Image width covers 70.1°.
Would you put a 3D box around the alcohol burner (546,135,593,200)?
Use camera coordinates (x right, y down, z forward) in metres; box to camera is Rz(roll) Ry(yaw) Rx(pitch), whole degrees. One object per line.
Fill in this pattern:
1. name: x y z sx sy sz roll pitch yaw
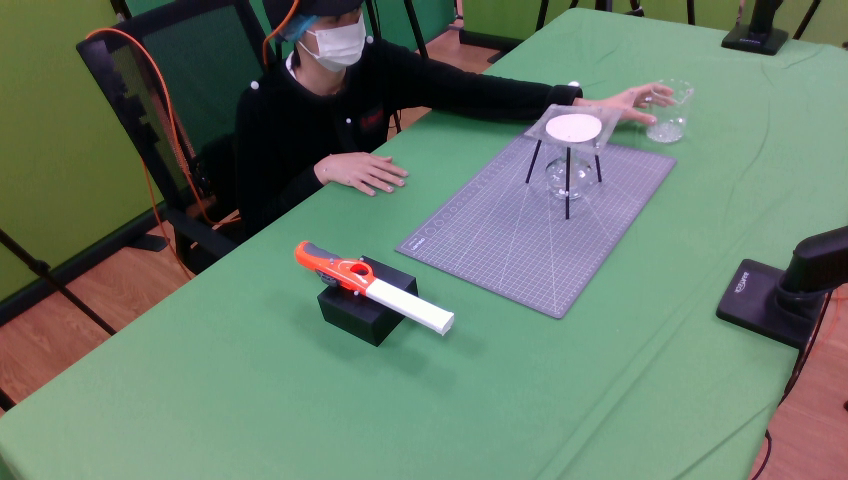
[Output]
1. alcohol burner: 0.243 -0.126 1.011 0.078 0.119 0.077 -5 42 5

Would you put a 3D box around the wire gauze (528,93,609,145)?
1. wire gauze: 0.225 -0.188 0.943 0.121 0.011 0.124 6 48 9

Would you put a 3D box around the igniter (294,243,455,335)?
1. igniter: -0.079 0.062 0.837 0.274 0.025 0.057 23 48 27

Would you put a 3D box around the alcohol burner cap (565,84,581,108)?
1. alcohol burner cap: 0.315 -0.307 1.278 0.034 0.048 0.033 -5 42 5

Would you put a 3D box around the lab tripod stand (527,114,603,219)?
1. lab tripod stand: 0.234 -0.129 1.002 0.148 0.132 0.147 -6 40 6

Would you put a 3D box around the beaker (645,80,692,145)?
1. beaker: 0.452 -0.232 1.121 0.074 0.101 0.083 -8 40 1
